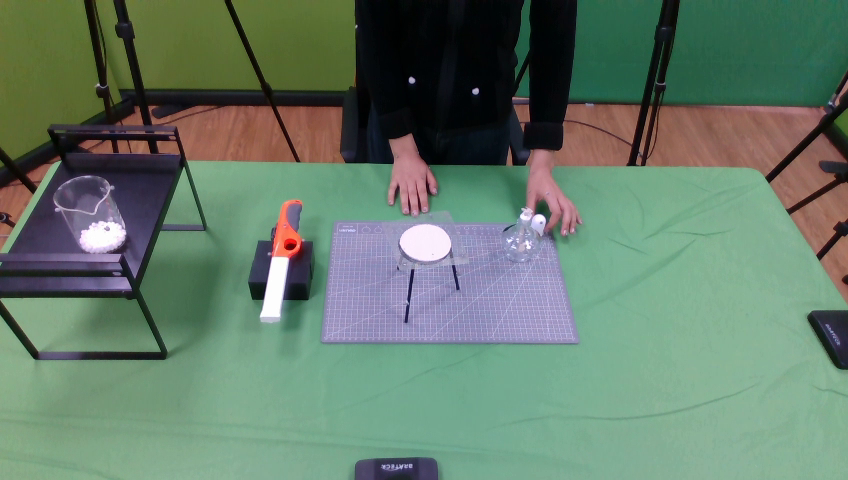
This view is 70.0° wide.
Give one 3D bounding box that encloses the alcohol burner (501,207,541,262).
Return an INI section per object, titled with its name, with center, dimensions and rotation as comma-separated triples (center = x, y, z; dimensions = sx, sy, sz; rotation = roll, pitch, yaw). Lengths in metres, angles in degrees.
[alcohol burner]
center = 0.188, -0.015, 1.161
dimensions = 0.078, 0.120, 0.077
rotation = 1, 44, -1

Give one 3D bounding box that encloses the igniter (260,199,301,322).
[igniter]
center = -0.255, 0.027, 1.084
dimensions = 0.057, 0.025, 0.274
rotation = 3, 49, -4

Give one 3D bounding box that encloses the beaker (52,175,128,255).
[beaker]
center = -0.482, -0.032, 0.888
dimensions = 0.074, 0.101, 0.083
rotation = -28, 55, -27

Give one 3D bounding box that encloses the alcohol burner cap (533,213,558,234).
[alcohol burner cap]
center = 0.243, -0.036, 1.222
dimensions = 0.048, 0.034, 0.034
rotation = 28, 50, 13

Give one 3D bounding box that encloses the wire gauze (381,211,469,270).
[wire gauze]
center = 0.000, 0.001, 1.023
dimensions = 0.125, 0.011, 0.120
rotation = -9, 48, -13

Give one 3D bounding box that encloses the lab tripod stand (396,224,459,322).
[lab tripod stand]
center = -0.003, 0.052, 1.067
dimensions = 0.148, 0.132, 0.147
rotation = 3, 48, -3
